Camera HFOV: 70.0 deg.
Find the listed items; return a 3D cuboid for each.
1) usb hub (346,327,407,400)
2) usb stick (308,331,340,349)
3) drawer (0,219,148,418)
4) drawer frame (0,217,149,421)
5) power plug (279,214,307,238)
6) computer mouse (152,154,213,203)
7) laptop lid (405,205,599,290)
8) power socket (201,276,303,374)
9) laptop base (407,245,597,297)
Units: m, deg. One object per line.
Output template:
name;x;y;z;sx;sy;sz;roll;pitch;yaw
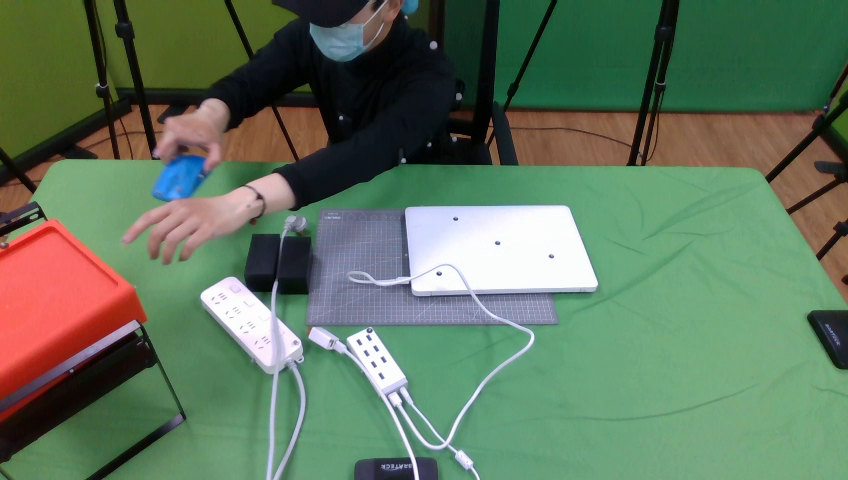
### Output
usb hub;-0.078;0.202;0.998;0.049;0.025;0.124;-23;53;-24
usb stick;-0.173;0.167;1.022;0.059;0.021;0.027;10;1;25
drawer;-0.509;0.093;0.783;0.193;0.073;0.211;32;53;24
drawer frame;-0.510;0.093;0.780;0.201;0.083;0.213;31;52;23
power plug;-0.260;-0.021;1.185;0.035;0.053;0.072;19;57;32
computer mouse;-0.424;-0.112;1.064;0.063;0.041;0.116;13;47;8
laptop lid;0.143;0.008;1.189;0.357;0.013;0.240;0;44;-5
power socket;-0.296;0.141;1.034;0.225;0.033;0.072;37;55;27
laptop base;0.143;0.018;1.196;0.355;0.023;0.234;-1;43;-6
